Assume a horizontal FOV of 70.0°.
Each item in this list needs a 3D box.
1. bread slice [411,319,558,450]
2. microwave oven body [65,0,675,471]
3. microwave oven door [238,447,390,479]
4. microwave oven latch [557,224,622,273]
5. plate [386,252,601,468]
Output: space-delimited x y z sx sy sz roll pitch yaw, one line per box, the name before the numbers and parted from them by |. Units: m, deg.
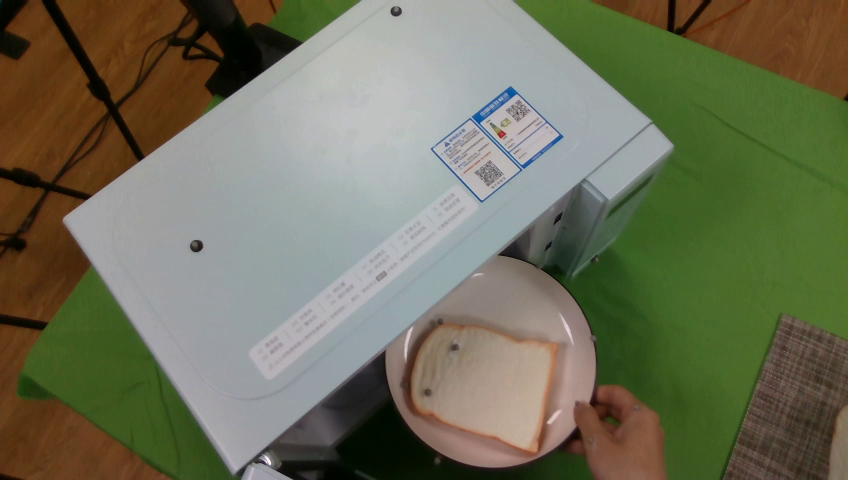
bread slice | 0.055 0.136 0.591 0.134 0.018 0.106 14 70 3
microwave oven body | -0.047 -0.023 0.629 0.441 0.262 0.324 -40 73 -8
microwave oven door | 0.036 0.271 0.516 0.354 0.245 0.039 22 74 11
microwave oven latch | 0.192 0.003 0.704 0.079 0.030 0.030 -38 73 -8
plate | 0.067 0.116 0.599 0.208 0.039 0.206 0 72 -1
